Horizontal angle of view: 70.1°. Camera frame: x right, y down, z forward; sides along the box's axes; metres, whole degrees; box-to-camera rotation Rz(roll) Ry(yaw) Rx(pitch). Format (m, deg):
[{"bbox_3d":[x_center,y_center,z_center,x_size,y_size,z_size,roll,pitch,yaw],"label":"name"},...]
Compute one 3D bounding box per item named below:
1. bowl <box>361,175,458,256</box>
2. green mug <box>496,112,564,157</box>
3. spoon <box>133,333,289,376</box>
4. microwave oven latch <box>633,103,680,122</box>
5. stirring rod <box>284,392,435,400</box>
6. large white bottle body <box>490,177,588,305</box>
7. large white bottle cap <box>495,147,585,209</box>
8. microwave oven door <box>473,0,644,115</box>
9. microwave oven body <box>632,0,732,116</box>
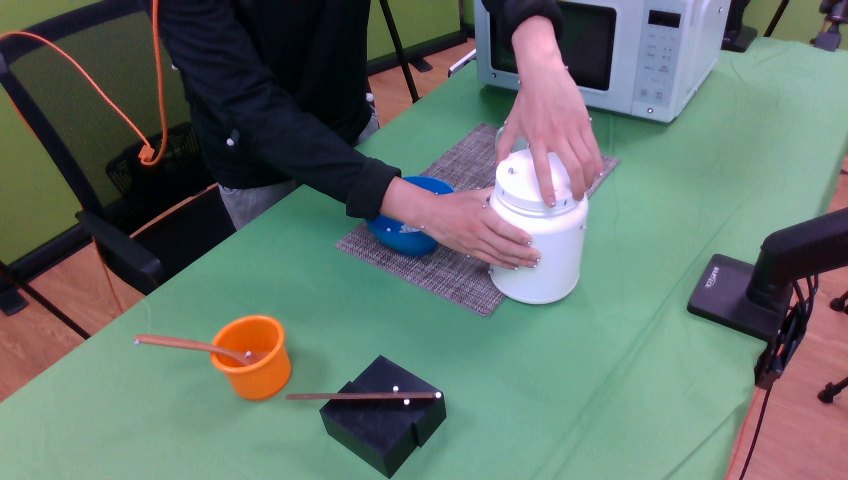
[{"bbox_3d":[-0.018,-0.029,0.955,0.151,0.077,0.150,-4,40,4],"label":"bowl"},{"bbox_3d":[0.185,-0.161,1.061,0.124,0.105,0.092,15,46,24],"label":"green mug"},{"bbox_3d":[-0.257,0.137,0.747,0.195,0.021,0.041,25,26,-36],"label":"spoon"},{"bbox_3d":[0.443,-0.249,1.157,0.078,0.029,0.030,20,48,30],"label":"microwave oven latch"},{"bbox_3d":[-0.075,0.180,0.698,0.176,0.006,0.014,-2,6,6],"label":"stirring rod"},{"bbox_3d":[0.156,-0.015,0.834,0.130,0.185,0.130,-4,42,4],"label":"large white bottle body"},{"bbox_3d":[0.149,-0.081,0.777,0.115,0.018,0.114,-2,43,2],"label":"large white bottle cap"},{"bbox_3d":[0.257,-0.396,1.199,0.353,0.245,0.039,21,48,29],"label":"microwave oven door"},{"bbox_3d":[0.377,-0.462,1.267,0.438,0.261,0.327,21,48,30],"label":"microwave oven body"}]
